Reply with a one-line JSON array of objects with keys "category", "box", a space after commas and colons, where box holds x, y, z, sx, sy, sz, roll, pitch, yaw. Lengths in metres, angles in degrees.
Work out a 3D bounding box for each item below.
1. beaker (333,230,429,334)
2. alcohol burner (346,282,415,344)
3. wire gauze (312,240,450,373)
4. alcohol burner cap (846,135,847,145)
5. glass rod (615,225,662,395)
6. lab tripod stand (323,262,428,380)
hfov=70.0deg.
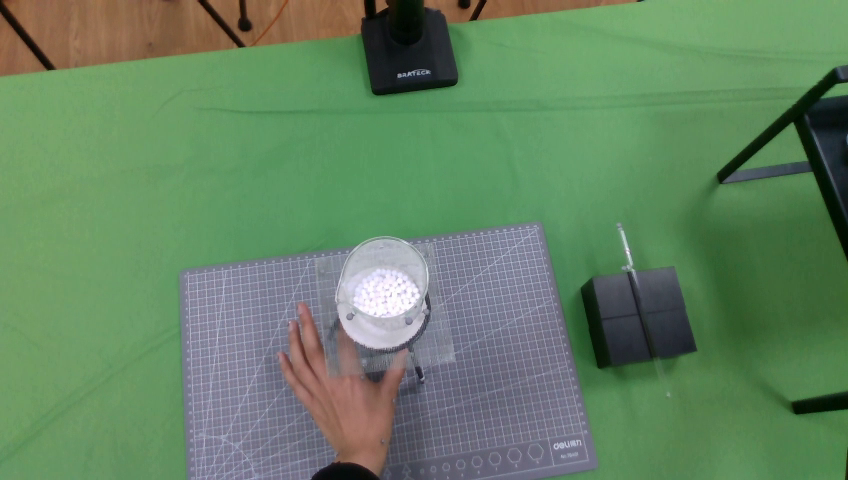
[{"category": "beaker", "box": [-0.039, 0.045, 0.550, 0.084, 0.101, 0.073, -23, 74, -10]}, {"category": "alcohol burner", "box": [-0.048, 0.080, 0.668, 0.078, 0.119, 0.077, 1, 73, -4]}, {"category": "wire gauze", "box": [-0.043, 0.064, 0.594, 0.125, 0.011, 0.120, -6, 73, -8]}, {"category": "alcohol burner cap", "box": [0.453, -0.107, 0.606, 0.034, 0.048, 0.033, 1, 70, -3]}, {"category": "glass rod", "box": [0.245, 0.076, 0.693, 0.008, 0.008, 0.198, -7, 73, -5]}, {"category": "lab tripod stand", "box": [-0.043, 0.080, 0.658, 0.148, 0.132, 0.147, 1, 70, -2]}]
